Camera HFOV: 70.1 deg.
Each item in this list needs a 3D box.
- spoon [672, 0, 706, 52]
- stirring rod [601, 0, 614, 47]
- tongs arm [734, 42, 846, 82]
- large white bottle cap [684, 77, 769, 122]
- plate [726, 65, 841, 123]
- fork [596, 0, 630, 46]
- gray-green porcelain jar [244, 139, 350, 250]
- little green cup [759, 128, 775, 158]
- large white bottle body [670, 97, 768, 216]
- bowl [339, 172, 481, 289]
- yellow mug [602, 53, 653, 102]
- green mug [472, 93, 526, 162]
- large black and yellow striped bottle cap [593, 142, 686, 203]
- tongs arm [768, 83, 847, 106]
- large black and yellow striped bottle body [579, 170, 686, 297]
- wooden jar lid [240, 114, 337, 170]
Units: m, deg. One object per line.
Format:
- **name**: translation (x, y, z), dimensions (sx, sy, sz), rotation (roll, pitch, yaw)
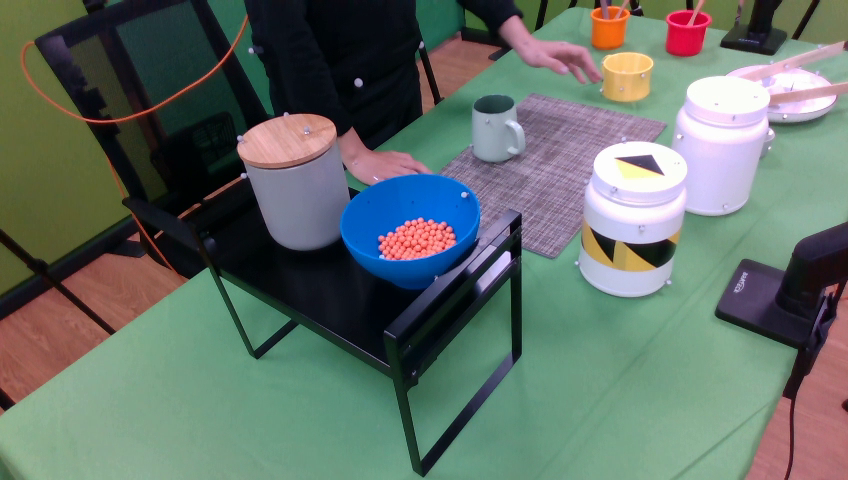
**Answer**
- **spoon**: translation (0.629, -0.520, 1.394), dimensions (0.041, 0.022, 0.193), rotation (29, 97, 35)
- **stirring rod**: translation (0.440, -0.552, 1.463), dimensions (0.014, 0.006, 0.175), rotation (-7, 83, 3)
- **tongs arm**: translation (0.708, -0.331, 1.193), dimensions (0.386, 0.026, 0.050), rotation (-18, 45, -15)
- **large white bottle cap**: translation (0.448, -0.210, 0.898), dimensions (0.115, 0.018, 0.114), rotation (-4, 40, 4)
- **plate**: translation (0.694, -0.282, 1.189), dimensions (0.207, 0.039, 0.206), rotation (-4, 40, 4)
- **fork**: translation (0.481, -0.556, 1.453), dimensions (0.028, 0.019, 0.207), rotation (40, 103, 38)
- **gray-green porcelain jar**: translation (-0.143, -0.060, 0.714), dimensions (0.106, 0.127, 0.105), rotation (-4, 41, 4)
- **little green cup**: translation (0.588, -0.175, 1.080), dimensions (0.061, 0.039, 0.061), rotation (-5, 40, 5)
- **large white bottle body**: translation (0.458, -0.146, 0.952), dimensions (0.130, 0.185, 0.130), rotation (-4, 40, 4)
- **bowl**: translation (-0.011, 0.001, 0.660), dimensions (0.151, 0.077, 0.150), rotation (-5, 41, 5)
- **yellow mug**: translation (0.423, -0.354, 1.292), dimensions (0.100, 0.064, 0.129), rotation (-23, 42, -16)
- **green mug**: translation (0.144, -0.202, 1.122), dimensions (0.093, 0.105, 0.124), rotation (-29, 45, -23)
- **large black and yellow striped bottle cap**: translation (0.280, -0.090, 0.786), dimensions (0.115, 0.019, 0.114), rotation (-5, 41, 5)
- **tongs arm**: translation (0.734, -0.280, 1.133), dimensions (0.388, 0.028, 0.028), rotation (-9, 47, -5)
- **large black and yellow striped bottle body**: translation (0.287, -0.027, 0.842), dimensions (0.131, 0.185, 0.130), rotation (-4, 41, 4)
- **wooden jar lid**: translation (-0.149, -0.106, 0.673), dimensions (0.108, 0.021, 0.108), rotation (-6, 38, 5)
